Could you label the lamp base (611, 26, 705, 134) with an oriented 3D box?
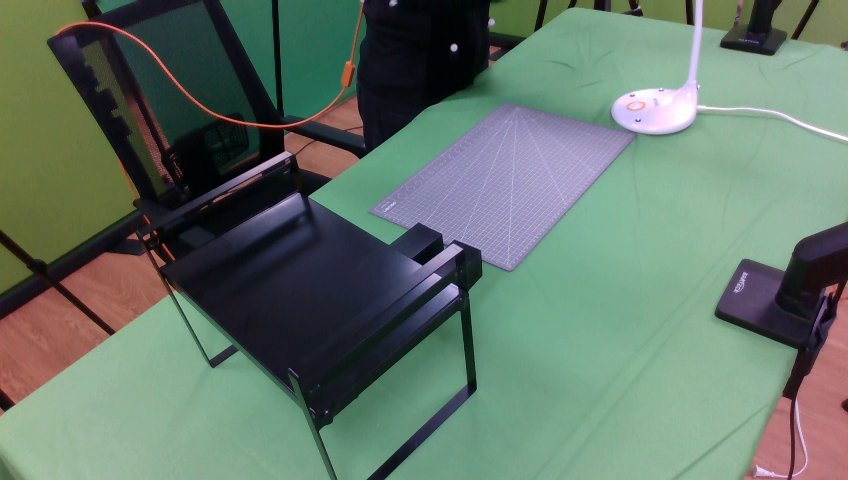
[{"bbox_3d":[0.459,-0.316,1.154,0.179,0.181,0.159,-6,41,-1],"label":"lamp base"}]
